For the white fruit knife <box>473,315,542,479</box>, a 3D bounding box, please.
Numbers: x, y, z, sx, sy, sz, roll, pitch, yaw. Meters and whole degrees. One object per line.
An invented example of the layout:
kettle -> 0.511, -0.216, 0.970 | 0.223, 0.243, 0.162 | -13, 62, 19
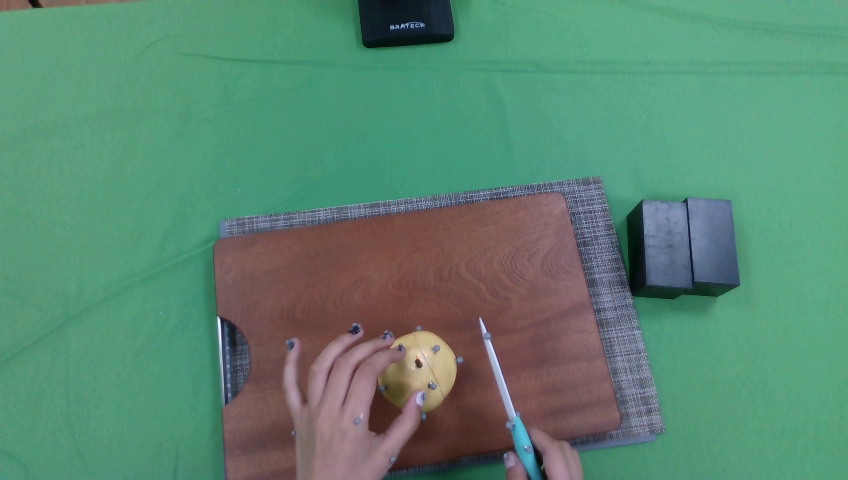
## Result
white fruit knife -> 0.078, 0.162, 0.542 | 0.016, 0.027, 0.208 | -22, 99, -15

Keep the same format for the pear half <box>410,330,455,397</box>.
pear half -> 0.012, 0.115, 0.593 | 0.031, 0.088, 0.070 | -31, 70, -11

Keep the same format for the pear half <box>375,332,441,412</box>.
pear half -> -0.019, 0.128, 0.577 | 0.056, 0.110, 0.076 | -29, 71, -11
